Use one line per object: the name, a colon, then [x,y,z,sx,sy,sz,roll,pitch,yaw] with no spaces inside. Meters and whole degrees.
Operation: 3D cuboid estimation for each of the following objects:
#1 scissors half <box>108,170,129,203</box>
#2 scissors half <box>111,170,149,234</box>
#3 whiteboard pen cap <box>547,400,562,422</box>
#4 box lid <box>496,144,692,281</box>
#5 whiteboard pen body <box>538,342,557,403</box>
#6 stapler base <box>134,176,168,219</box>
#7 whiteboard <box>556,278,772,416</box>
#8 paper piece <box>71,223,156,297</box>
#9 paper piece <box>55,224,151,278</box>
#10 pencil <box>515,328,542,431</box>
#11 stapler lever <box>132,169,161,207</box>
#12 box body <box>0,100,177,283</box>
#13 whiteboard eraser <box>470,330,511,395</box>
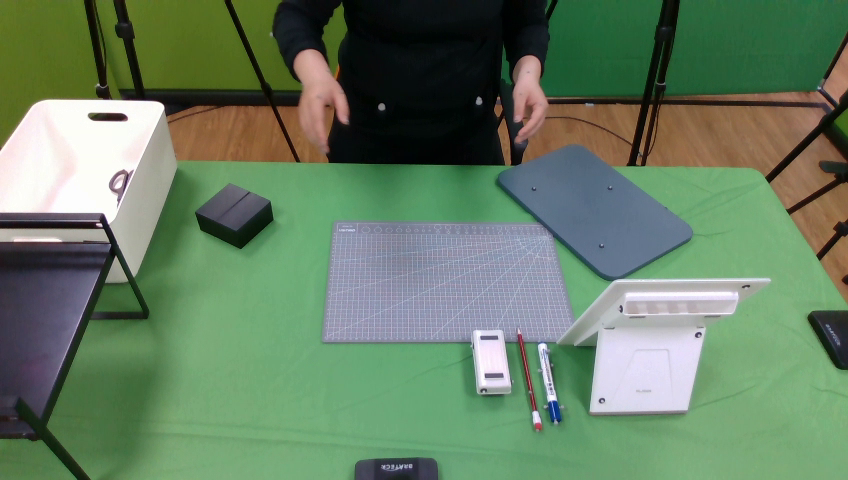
scissors half: [-0.618,-0.077,1.222,0.040,0.013,0.174,-15,52,-8]
scissors half: [-0.596,-0.078,1.223,0.040,0.013,0.174,5,51,2]
whiteboard pen cap: [0.205,0.269,0.956,0.018,0.018,0.033,0,47,-5]
box lid: [0.360,-0.073,1.305,0.263,0.015,0.369,-24,52,-25]
whiteboard pen body: [0.205,0.228,0.997,0.017,0.017,0.140,1,46,-3]
stapler base: [-0.558,-0.093,1.234,0.041,0.024,0.129,1,42,-8]
whiteboard: [0.347,0.174,0.903,0.217,0.306,0.143,1,65,-4]
paper piece: [-0.598,0.034,1.141,0.136,0.009,0.137,14,52,-14]
paper piece: [-0.595,0.018,1.129,0.135,0.004,0.135,1,46,-2]
pencil: [0.169,0.224,1.002,0.012,0.012,0.192,-2,46,-6]
stapler lever: [-0.557,-0.113,1.218,0.027,0.040,0.117,1,42,-8]
box body: [-0.639,-0.095,1.140,0.254,0.161,0.361,0,46,-4]
whiteboard eraser: [0.110,0.202,0.998,0.055,0.042,0.112,1,46,-5]
